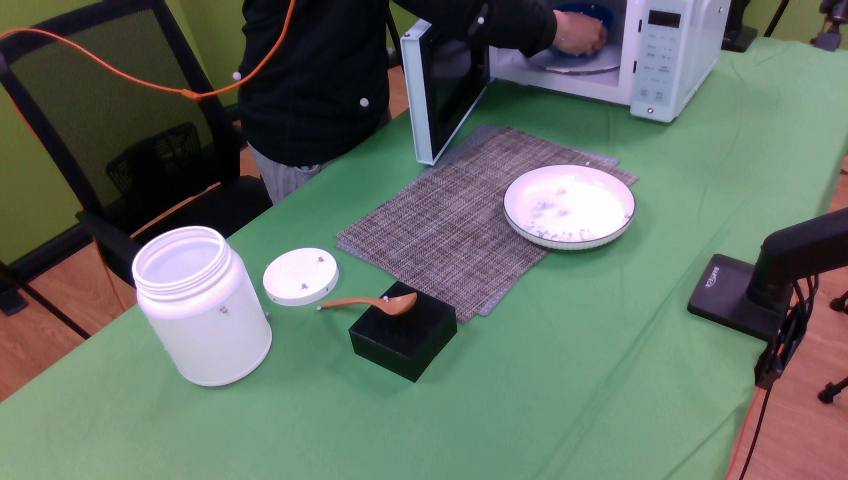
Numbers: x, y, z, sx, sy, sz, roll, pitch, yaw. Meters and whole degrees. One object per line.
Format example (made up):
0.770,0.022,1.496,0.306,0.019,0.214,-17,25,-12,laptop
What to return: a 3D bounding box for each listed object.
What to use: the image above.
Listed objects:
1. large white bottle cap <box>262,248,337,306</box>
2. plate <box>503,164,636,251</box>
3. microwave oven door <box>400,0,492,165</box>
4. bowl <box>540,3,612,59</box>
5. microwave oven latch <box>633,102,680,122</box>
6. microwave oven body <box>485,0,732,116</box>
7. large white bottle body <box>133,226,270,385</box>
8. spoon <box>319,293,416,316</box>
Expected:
-0.192,0.056,0.934,0.115,0.018,0.114,-4,41,4,large white bottle cap
0.232,-0.050,0.976,0.209,0.038,0.208,-3,41,3,plate
0.055,-0.343,1.167,0.039,0.245,0.356,11,44,21,microwave oven door
0.323,-0.441,1.296,0.151,0.077,0.150,-3,41,3,bowl
0.443,-0.249,1.157,0.078,0.029,0.030,21,49,30,microwave oven latch
0.377,-0.463,1.267,0.438,0.261,0.327,21,49,30,microwave oven body
-0.285,0.084,0.784,0.130,0.185,0.130,-4,41,4,large white bottle body
-0.082,0.086,0.826,0.192,0.022,0.041,-3,37,41,spoon
